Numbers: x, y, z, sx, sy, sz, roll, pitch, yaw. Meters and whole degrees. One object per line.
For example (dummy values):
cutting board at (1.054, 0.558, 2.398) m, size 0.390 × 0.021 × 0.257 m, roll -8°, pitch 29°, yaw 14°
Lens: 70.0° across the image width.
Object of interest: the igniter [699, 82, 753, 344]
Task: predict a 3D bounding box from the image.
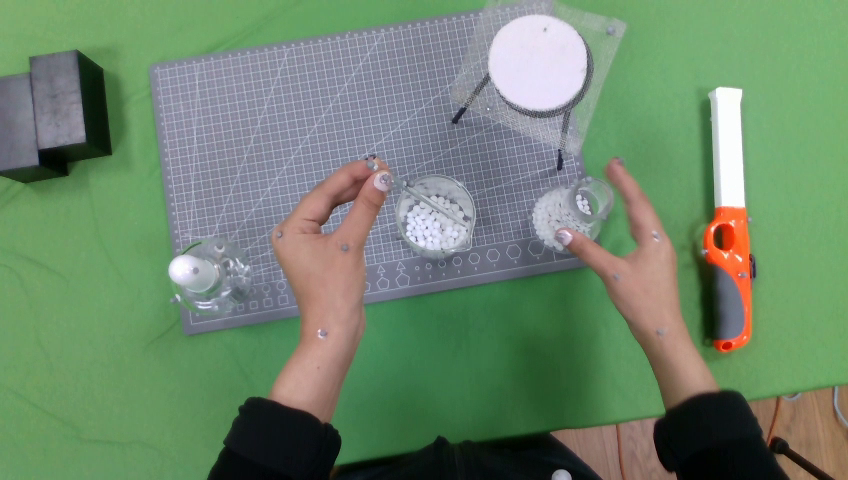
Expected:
igniter at (0.317, -0.030, 0.638) m, size 0.057 × 0.025 × 0.276 m, roll 2°, pitch 84°, yaw -10°

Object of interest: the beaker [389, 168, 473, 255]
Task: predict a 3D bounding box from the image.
beaker at (0.011, -0.022, 0.600) m, size 0.084 × 0.100 × 0.074 m, roll 44°, pitch 87°, yaw 4°

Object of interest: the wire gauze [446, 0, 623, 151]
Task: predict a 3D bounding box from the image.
wire gauze at (0.096, -0.157, 0.528) m, size 0.125 × 0.011 × 0.121 m, roll 22°, pitch 87°, yaw 3°

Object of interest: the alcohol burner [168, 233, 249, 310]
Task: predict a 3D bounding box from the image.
alcohol burner at (-0.215, 0.030, 0.589) m, size 0.078 × 0.119 × 0.077 m, roll 0°, pitch 85°, yaw 2°

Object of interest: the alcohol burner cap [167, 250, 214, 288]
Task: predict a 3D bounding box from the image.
alcohol burner cap at (-0.215, 0.024, 0.554) m, size 0.034 × 0.048 × 0.033 m, roll 0°, pitch 77°, yaw -1°

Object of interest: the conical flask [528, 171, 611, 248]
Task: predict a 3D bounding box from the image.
conical flask at (0.147, -0.035, 0.589) m, size 0.075 × 0.122 × 0.075 m, roll 0°, pitch 84°, yaw 1°

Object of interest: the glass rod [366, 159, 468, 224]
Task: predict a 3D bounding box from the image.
glass rod at (0.002, -0.036, 0.520) m, size 0.008 × 0.201 × 0.008 m, roll -5°, pitch 77°, yaw 23°

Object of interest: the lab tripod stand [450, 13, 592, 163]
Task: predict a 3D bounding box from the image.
lab tripod stand at (0.100, -0.148, 0.594) m, size 0.148 × 0.131 × 0.148 m, roll 0°, pitch 86°, yaw 2°
